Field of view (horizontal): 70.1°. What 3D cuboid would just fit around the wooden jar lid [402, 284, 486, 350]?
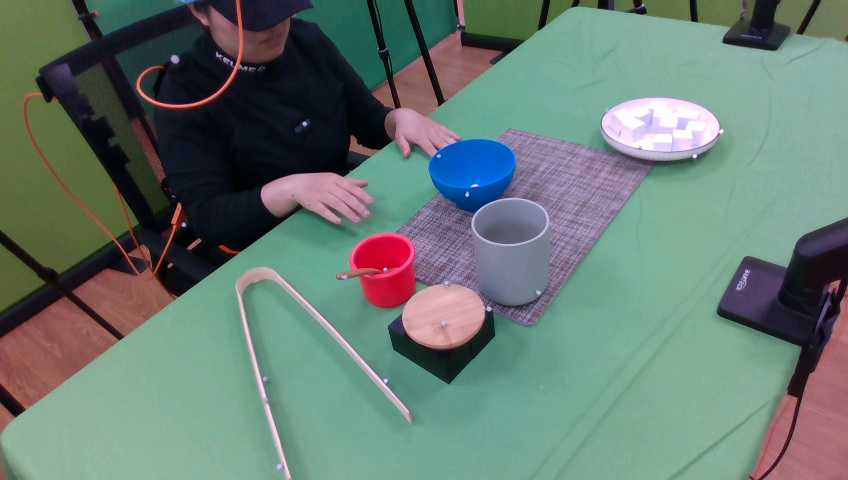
[{"bbox_3d":[0.026,0.101,0.786,0.108,0.021,0.108,-5,39,4],"label":"wooden jar lid"}]

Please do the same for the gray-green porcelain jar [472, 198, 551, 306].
[{"bbox_3d":[0.125,0.021,0.850,0.106,0.127,0.105,-6,40,5],"label":"gray-green porcelain jar"}]

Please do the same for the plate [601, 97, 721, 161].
[{"bbox_3d":[0.436,-0.203,1.126,0.209,0.038,0.208,-5,39,5],"label":"plate"}]

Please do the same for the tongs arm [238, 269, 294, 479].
[{"bbox_3d":[-0.208,0.163,0.824,0.051,0.026,0.381,-22,40,-15],"label":"tongs arm"}]

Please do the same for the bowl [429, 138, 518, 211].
[{"bbox_3d":[0.087,-0.104,1.043,0.151,0.077,0.150,-5,40,5],"label":"bowl"}]

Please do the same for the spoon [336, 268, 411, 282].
[{"bbox_3d":[-0.071,0.047,0.850,0.041,0.195,0.021,18,93,24],"label":"spoon"}]

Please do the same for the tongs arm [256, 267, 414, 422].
[{"bbox_3d":[-0.137,0.132,0.853,0.028,0.028,0.384,-34,45,-23],"label":"tongs arm"}]
